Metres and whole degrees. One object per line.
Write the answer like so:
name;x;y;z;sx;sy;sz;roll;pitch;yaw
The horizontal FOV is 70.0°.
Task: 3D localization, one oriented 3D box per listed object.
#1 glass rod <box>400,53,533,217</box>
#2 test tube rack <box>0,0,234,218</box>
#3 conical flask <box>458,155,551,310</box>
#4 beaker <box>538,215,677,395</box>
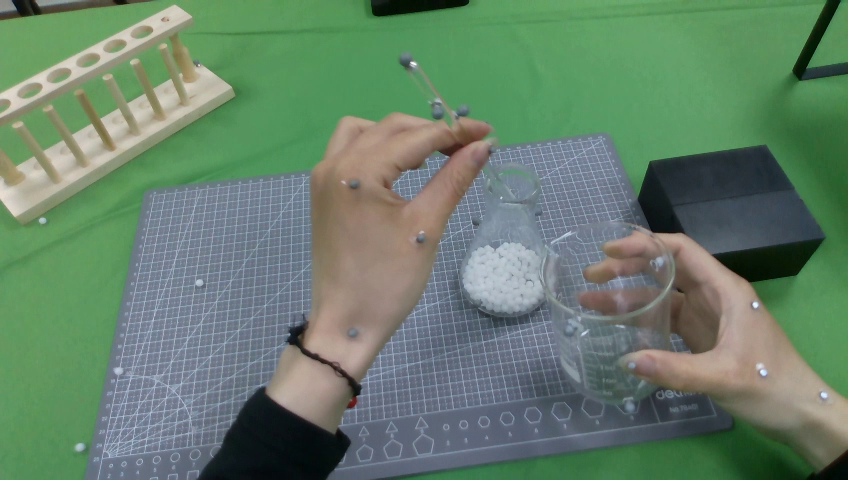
glass rod;0.034;-0.050;0.352;0.008;0.201;0.008;-9;68;24
test tube rack;-0.317;-0.134;0.593;0.066;0.086;0.242;37;64;27
conical flask;0.061;-0.007;0.448;0.075;0.123;0.074;-2;54;3
beaker;0.113;0.044;0.380;0.074;0.101;0.083;-41;47;-20
